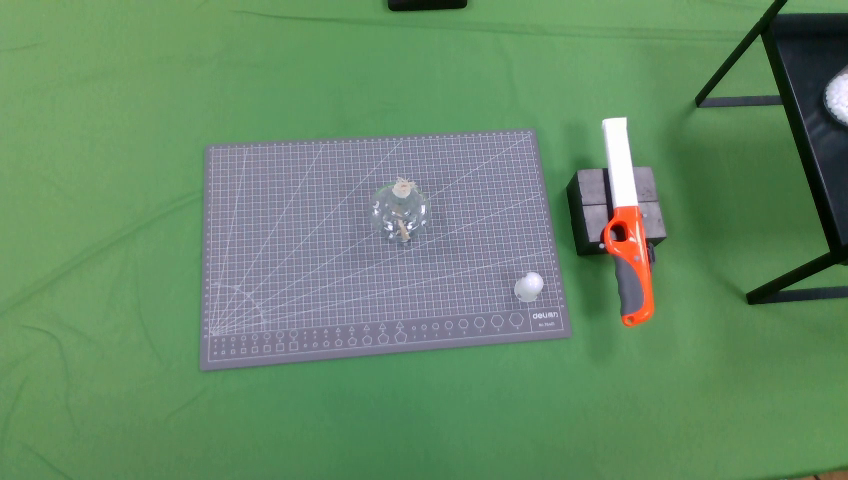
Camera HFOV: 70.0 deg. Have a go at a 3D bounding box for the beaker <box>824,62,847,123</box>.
[{"bbox_3d":[0.486,-0.174,0.642,0.084,0.101,0.073,-17,72,-9],"label":"beaker"}]

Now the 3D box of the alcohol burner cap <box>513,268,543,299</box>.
[{"bbox_3d":[0.131,0.053,0.753,0.034,0.048,0.033,1,70,-4],"label":"alcohol burner cap"}]

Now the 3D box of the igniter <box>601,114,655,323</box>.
[{"bbox_3d":[0.250,-0.033,0.754,0.057,0.025,0.274,-3,70,7],"label":"igniter"}]

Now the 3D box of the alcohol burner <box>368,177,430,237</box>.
[{"bbox_3d":[-0.029,-0.048,0.738,0.078,0.119,0.077,2,70,-5],"label":"alcohol burner"}]
